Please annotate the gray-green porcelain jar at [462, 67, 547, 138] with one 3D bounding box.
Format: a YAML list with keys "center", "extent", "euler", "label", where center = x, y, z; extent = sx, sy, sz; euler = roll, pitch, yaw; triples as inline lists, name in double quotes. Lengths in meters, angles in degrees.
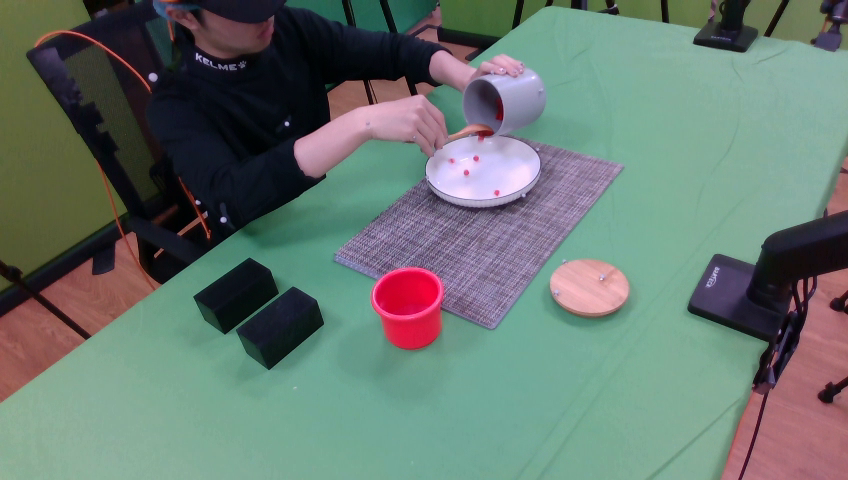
- center: [0.148, -0.248, 1.079]
  extent: [0.127, 0.106, 0.105]
  euler: [-25, 43, -35]
  label: "gray-green porcelain jar"

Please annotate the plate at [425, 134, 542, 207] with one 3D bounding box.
- center: [0.106, -0.122, 1.079]
  extent: [0.207, 0.039, 0.206]
  euler: [-4, 41, 4]
  label: "plate"

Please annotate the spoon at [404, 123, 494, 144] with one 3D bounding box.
- center: [0.045, -0.174, 1.007]
  extent: [0.195, 0.022, 0.041]
  euler: [-21, 34, -37]
  label: "spoon"

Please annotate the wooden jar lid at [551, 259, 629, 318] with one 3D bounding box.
- center: [0.234, 0.070, 0.857]
  extent: [0.108, 0.021, 0.108]
  euler: [-5, 40, 5]
  label: "wooden jar lid"
